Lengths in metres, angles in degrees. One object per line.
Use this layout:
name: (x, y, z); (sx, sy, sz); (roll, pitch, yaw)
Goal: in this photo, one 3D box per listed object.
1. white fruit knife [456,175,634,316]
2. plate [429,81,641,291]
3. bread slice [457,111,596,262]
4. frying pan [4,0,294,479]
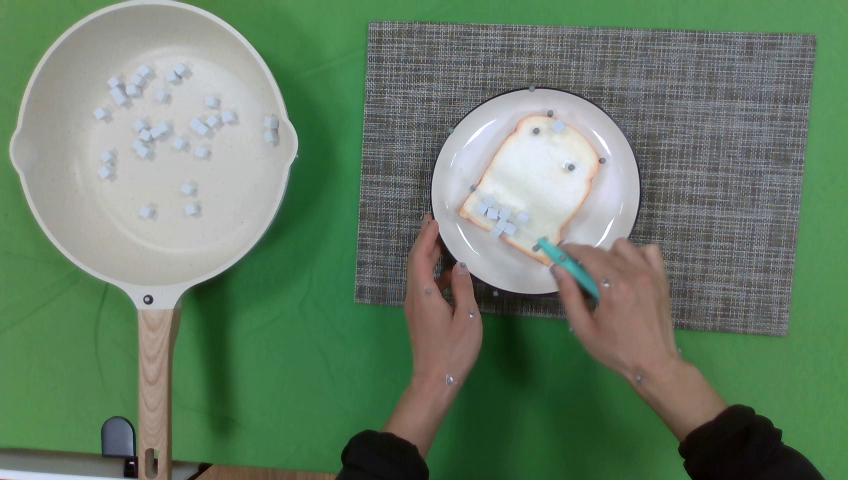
white fruit knife: (0.110, 0.003, 0.564); (0.206, 0.027, 0.016); (38, 89, 10)
plate: (0.110, -0.053, 0.616); (0.207, 0.039, 0.207); (0, 93, 6)
bread slice: (0.108, -0.061, 0.617); (0.107, 0.018, 0.134); (27, 97, 3)
frying pan: (-0.277, 0.007, 0.629); (0.306, 0.103, 0.486); (0, 85, 7)
